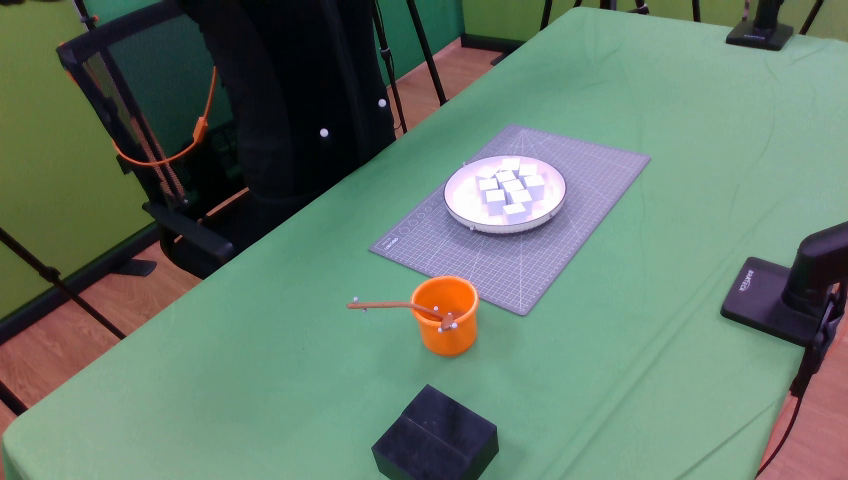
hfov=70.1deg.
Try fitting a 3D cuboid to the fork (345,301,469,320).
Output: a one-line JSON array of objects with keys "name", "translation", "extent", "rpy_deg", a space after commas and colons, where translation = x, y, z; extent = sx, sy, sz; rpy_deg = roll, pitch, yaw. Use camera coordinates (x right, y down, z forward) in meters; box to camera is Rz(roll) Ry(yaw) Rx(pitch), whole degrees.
[{"name": "fork", "translation": [-0.017, 0.090, 0.776], "extent": [0.209, 0.018, 0.028], "rpy_deg": [14, -1, -44]}]

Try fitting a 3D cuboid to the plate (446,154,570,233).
[{"name": "plate", "translation": [0.142, -0.076, 1.033], "extent": [0.207, 0.039, 0.206], "rpy_deg": [-5, 40, 5]}]

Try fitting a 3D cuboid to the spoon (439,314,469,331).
[{"name": "spoon", "translation": [0.033, 0.101, 0.760], "extent": [0.041, 0.194, 0.021], "rpy_deg": [0, 83, 7]}]
